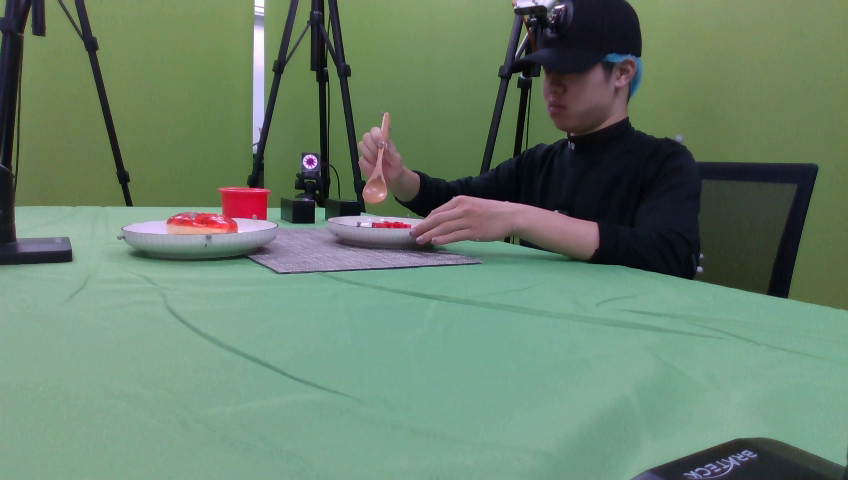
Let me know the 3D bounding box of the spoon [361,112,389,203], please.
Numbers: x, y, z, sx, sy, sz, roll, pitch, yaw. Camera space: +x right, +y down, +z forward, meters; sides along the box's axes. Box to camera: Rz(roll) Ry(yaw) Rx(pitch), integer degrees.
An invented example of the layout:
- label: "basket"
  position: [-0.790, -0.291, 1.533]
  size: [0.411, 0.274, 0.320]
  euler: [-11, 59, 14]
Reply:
- label: "spoon"
  position: [-0.076, -0.145, 1.041]
  size: [0.041, 0.193, 0.021]
  euler: [4, -24, 6]

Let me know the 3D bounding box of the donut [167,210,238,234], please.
- label: "donut"
  position: [-0.321, -0.017, 0.882]
  size: [0.099, 0.048, 0.099]
  euler: [3, 6, 0]

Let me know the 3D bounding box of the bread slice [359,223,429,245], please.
- label: "bread slice"
  position: [-0.062, -0.011, 1.035]
  size: [0.105, 0.019, 0.131]
  euler: [0, 11, -20]

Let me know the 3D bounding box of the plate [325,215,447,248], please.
- label: "plate"
  position: [-0.065, -0.015, 1.035]
  size: [0.209, 0.038, 0.209]
  euler: [3, 8, 0]

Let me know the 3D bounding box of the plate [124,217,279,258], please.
- label: "plate"
  position: [-0.315, -0.004, 0.871]
  size: [0.208, 0.039, 0.207]
  euler: [1, 8, 0]
